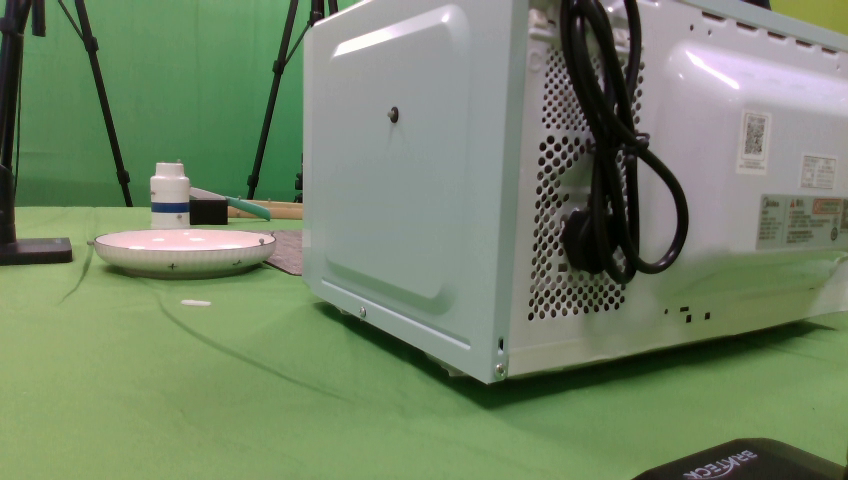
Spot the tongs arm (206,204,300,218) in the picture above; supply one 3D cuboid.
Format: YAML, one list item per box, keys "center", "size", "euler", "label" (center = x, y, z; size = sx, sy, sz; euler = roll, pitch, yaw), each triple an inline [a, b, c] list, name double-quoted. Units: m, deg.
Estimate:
- center: [-0.302, -0.066, 1.406]
  size: [0.389, 0.028, 0.028]
  euler: [1, 4, -15]
  label: "tongs arm"

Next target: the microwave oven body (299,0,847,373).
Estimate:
- center: [0.152, -0.055, 0.542]
  size: [0.444, 0.260, 0.324]
  euler: [-2, 7, -33]
  label: "microwave oven body"

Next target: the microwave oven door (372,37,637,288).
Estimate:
- center: [0.110, -0.080, 0.686]
  size: [0.358, 0.243, 0.039]
  euler: [-2, 9, -33]
  label: "microwave oven door"

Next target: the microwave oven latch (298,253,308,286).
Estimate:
- center: [-0.081, 0.027, 0.582]
  size: [0.079, 0.029, 0.030]
  euler: [-2, 7, -32]
  label: "microwave oven latch"

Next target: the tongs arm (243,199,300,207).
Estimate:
- center: [-0.309, -0.078, 1.486]
  size: [0.385, 0.026, 0.051]
  euler: [3, 7, -2]
  label: "tongs arm"

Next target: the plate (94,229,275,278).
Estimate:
- center: [-0.291, 0.016, 0.749]
  size: [0.208, 0.039, 0.207]
  euler: [2, 7, 0]
  label: "plate"

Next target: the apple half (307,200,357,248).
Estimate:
- center: [-0.136, -0.024, 0.942]
  size: [0.053, 0.074, 0.081]
  euler: [15, 10, 38]
  label: "apple half"

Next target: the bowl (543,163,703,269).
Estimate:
- center: [0.181, -0.020, 0.585]
  size: [0.151, 0.077, 0.151]
  euler: [13, 7, -1]
  label: "bowl"

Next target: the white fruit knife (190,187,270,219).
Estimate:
- center: [-0.413, -0.081, 1.270]
  size: [0.208, 0.027, 0.016]
  euler: [17, 13, -41]
  label: "white fruit knife"

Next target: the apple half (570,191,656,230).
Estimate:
- center: [0.181, -0.030, 0.585]
  size: [0.081, 0.033, 0.081]
  euler: [8, -6, 1]
  label: "apple half"

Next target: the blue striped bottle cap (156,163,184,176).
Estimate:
- center: [-0.438, -0.122, 1.045]
  size: [0.044, 0.020, 0.044]
  euler: [5, 6, 0]
  label: "blue striped bottle cap"

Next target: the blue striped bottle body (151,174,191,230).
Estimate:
- center: [-0.439, -0.071, 1.052]
  size: [0.063, 0.120, 0.063]
  euler: [2, 8, 0]
  label: "blue striped bottle body"
